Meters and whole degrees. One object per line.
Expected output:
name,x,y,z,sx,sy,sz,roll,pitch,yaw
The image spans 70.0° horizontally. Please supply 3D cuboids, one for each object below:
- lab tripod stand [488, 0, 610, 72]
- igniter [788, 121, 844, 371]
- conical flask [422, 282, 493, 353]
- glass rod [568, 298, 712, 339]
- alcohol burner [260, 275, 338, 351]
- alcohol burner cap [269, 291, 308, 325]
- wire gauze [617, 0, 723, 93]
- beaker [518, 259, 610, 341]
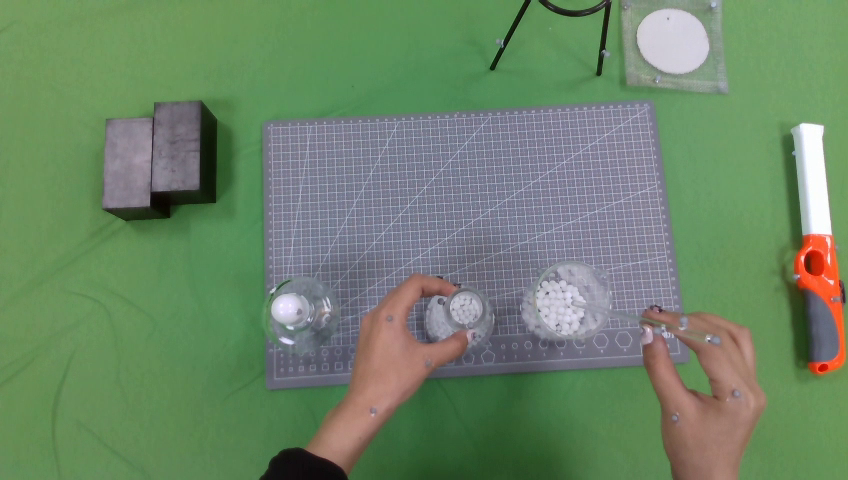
lab tripod stand,0.141,-0.247,0.654,0.148,0.132,0.148,0,81,0
igniter,0.427,0.003,0.663,0.057,0.025,0.275,4,79,-11
conical flask,0.036,0.071,0.593,0.075,0.122,0.075,0,78,0
glass rod,0.161,0.059,0.483,0.008,0.199,0.008,0,91,-12
alcohol burner,-0.127,0.070,0.597,0.078,0.119,0.077,0,78,2
alcohol burner cap,-0.127,0.062,0.562,0.034,0.048,0.034,1,82,-4
wire gauze,0.292,-0.235,0.717,0.125,0.011,0.121,3,80,-2
beaker,0.138,0.062,0.609,0.084,0.100,0.074,-37,81,-8
